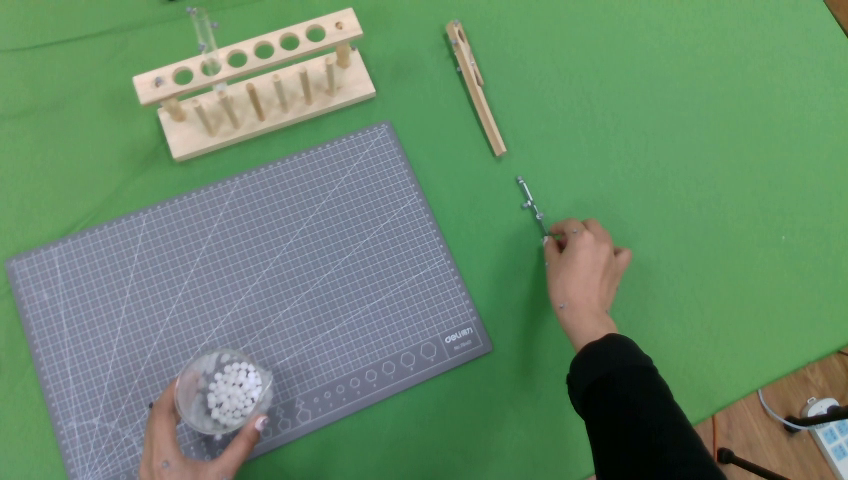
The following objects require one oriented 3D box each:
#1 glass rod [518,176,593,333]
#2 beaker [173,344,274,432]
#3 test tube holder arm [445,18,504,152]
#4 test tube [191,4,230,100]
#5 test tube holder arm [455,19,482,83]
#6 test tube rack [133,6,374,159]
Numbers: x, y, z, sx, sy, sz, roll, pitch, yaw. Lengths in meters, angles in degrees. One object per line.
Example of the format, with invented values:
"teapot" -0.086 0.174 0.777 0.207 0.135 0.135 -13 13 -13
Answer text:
"glass rod" 0.149 0.015 0.697 0.008 0.008 0.198 -21 79 -9
"beaker" -0.182 0.140 0.577 0.084 0.100 0.073 -13 77 -10
"test tube holder arm" 0.060 -0.189 0.732 0.013 0.015 0.177 -9 76 -36
"test tube" -0.220 -0.189 0.631 0.017 0.151 0.017 3 71 -8
"test tube holder arm" 0.051 -0.231 0.745 0.010 0.015 0.087 -9 75 -36
"test tube rack" -0.182 -0.175 0.681 0.242 0.085 0.066 -21 78 -9
